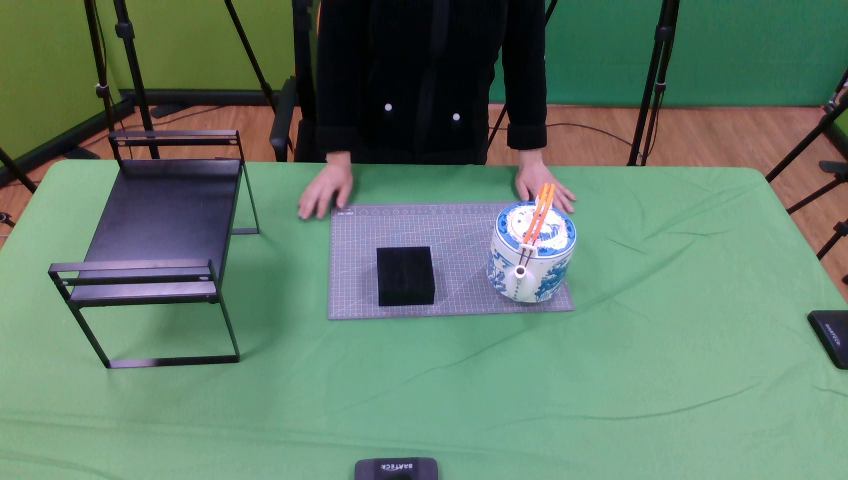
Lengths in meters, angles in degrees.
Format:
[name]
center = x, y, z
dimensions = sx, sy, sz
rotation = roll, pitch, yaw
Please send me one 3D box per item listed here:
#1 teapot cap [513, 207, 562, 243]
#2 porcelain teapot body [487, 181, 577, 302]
[teapot cap]
center = 0.196, -0.029, 1.039
dimensions = 0.085, 0.044, 0.084
rotation = 4, 49, -4
[porcelain teapot body]
center = 0.185, 0.018, 1.048
dimensions = 0.145, 0.226, 0.204
rotation = 15, 48, 10
